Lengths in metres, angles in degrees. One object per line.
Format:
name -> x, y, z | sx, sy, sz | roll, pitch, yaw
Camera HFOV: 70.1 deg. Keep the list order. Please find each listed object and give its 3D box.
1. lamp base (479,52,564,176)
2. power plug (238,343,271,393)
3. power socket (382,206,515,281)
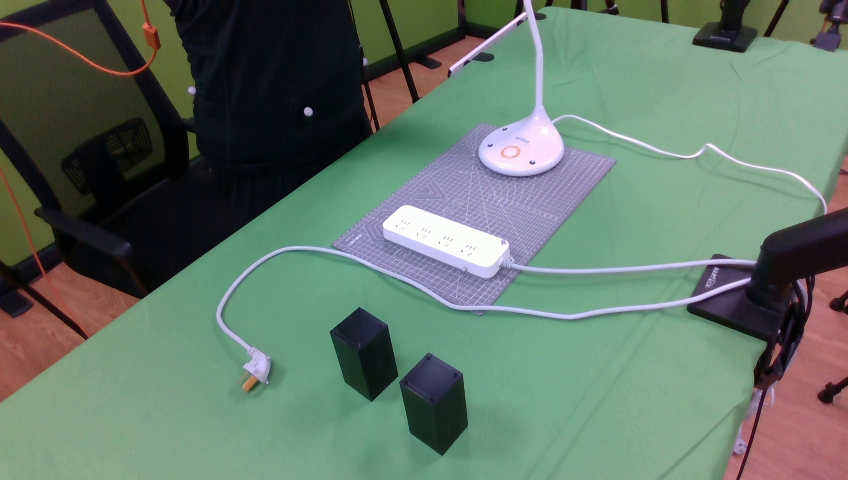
lamp base -> 0.181, -0.235, 1.094 | 0.159, 0.181, 0.179 | 18, 44, 27
power plug -> -0.230, 0.172, 0.801 | 0.072, 0.035, 0.053 | 8, 50, 49
power socket -> 0.032, 0.002, 0.950 | 0.225, 0.033, 0.072 | 21, 49, 29
